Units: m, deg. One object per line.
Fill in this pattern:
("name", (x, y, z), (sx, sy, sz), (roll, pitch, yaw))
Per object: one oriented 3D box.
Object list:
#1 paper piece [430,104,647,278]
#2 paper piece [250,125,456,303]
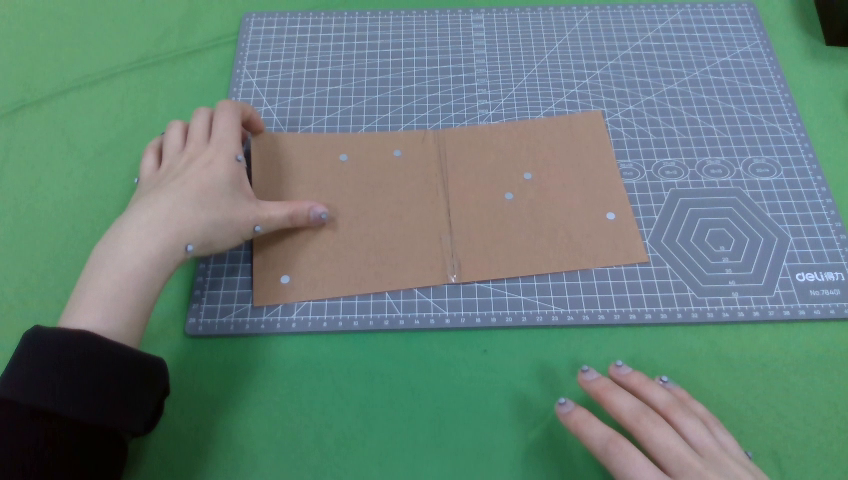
("paper piece", (0.078, -0.040, 0.438), (0.136, 0.004, 0.134), (-6, 62, -2))
("paper piece", (-0.054, -0.025, 0.431), (0.138, 0.009, 0.135), (-5, 62, -5))
